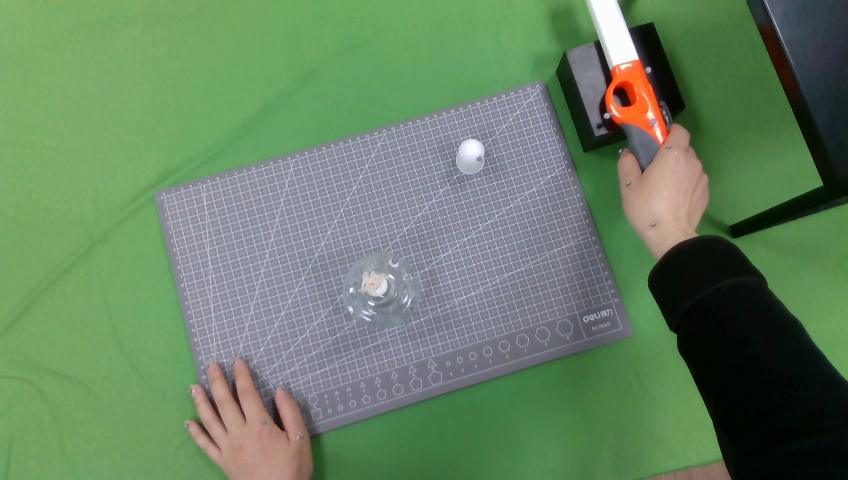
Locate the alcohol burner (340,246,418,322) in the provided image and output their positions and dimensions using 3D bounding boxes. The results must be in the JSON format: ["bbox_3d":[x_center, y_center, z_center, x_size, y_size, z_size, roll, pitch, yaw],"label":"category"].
[{"bbox_3d":[-0.046,0.042,0.593,0.078,0.119,0.077,0,82,1],"label":"alcohol burner"}]

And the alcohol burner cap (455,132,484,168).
[{"bbox_3d":[0.049,-0.099,0.650,0.034,0.048,0.033,0,82,1],"label":"alcohol burner cap"}]

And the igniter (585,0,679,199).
[{"bbox_3d":[0.206,-0.175,0.624,0.057,0.025,0.275,-14,79,-1],"label":"igniter"}]
